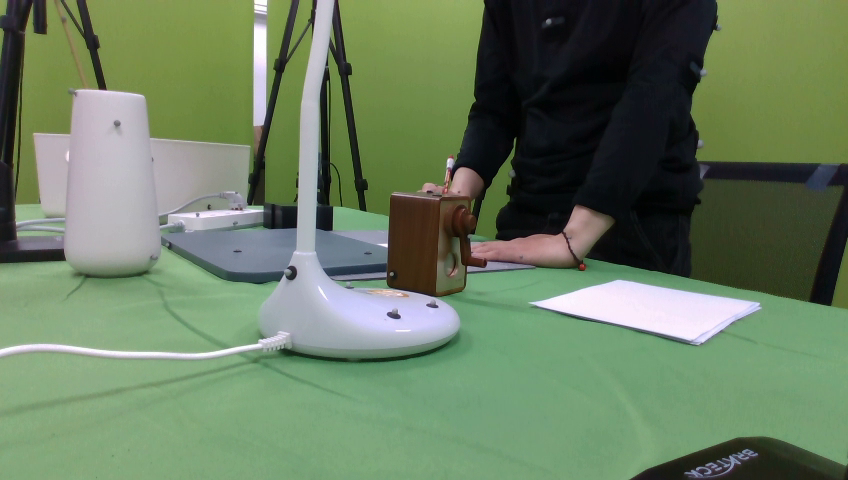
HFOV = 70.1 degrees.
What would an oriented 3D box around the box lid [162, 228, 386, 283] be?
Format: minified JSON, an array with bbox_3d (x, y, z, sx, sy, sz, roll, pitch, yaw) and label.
[{"bbox_3d":[-0.200,0.014,0.861,0.265,0.015,0.369,-4,10,-35],"label":"box lid"}]

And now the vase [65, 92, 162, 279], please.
[{"bbox_3d":[-0.347,-0.060,0.673,0.098,0.200,0.098,1,7,0],"label":"vase"}]

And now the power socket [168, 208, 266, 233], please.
[{"bbox_3d":[-0.379,-0.038,1.129,0.072,0.032,0.227,4,8,18],"label":"power socket"}]

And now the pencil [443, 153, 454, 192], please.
[{"bbox_3d":[0.033,-0.071,1.014,0.012,0.194,0.012,7,-32,5],"label":"pencil"}]

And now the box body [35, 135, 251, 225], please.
[{"bbox_3d":[-0.559,-0.127,1.257,0.253,0.160,0.365,4,8,15],"label":"box body"}]

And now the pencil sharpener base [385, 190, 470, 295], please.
[{"bbox_3d":[0.006,0.001,0.653,0.076,0.107,0.061,8,9,37],"label":"pencil sharpener base"}]

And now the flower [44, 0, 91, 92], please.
[{"bbox_3d":[-0.361,-0.142,0.663,0.044,0.361,0.038,-12,11,30],"label":"flower"}]

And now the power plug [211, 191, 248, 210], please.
[{"bbox_3d":[-0.384,-0.071,1.205,0.072,0.052,0.035,1,8,28],"label":"power plug"}]

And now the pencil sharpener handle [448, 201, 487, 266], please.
[{"bbox_3d":[0.049,-0.006,0.623,0.030,0.068,0.036,8,22,37],"label":"pencil sharpener handle"}]

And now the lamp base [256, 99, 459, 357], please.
[{"bbox_3d":[-0.055,-0.013,0.463,0.160,0.180,0.180,6,11,27],"label":"lamp base"}]
